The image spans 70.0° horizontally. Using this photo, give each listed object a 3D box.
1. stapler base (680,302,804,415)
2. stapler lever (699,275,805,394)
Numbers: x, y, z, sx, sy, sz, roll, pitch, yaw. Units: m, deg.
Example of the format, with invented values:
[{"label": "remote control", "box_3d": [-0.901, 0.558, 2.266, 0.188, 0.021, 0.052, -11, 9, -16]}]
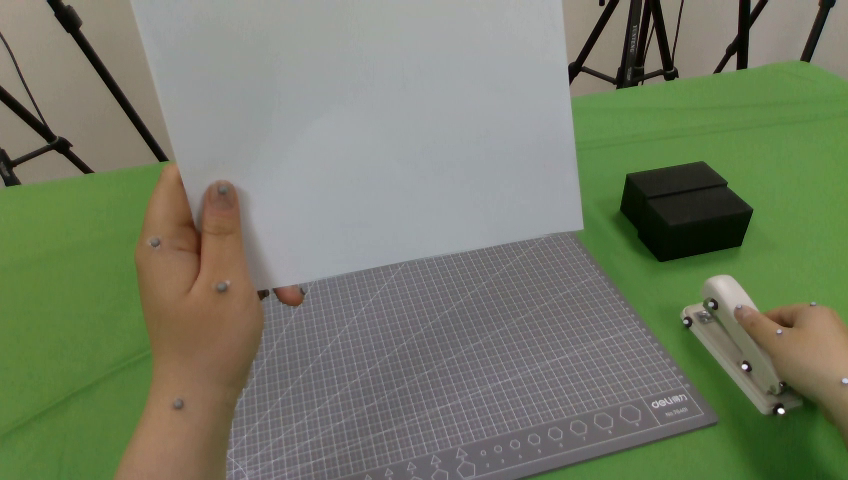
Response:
[{"label": "stapler base", "box_3d": [0.285, 0.097, 0.548, 0.041, 0.024, 0.129, -12, 41, -10]}, {"label": "stapler lever", "box_3d": [0.285, 0.078, 0.531, 0.027, 0.040, 0.116, -12, 41, -10]}]
